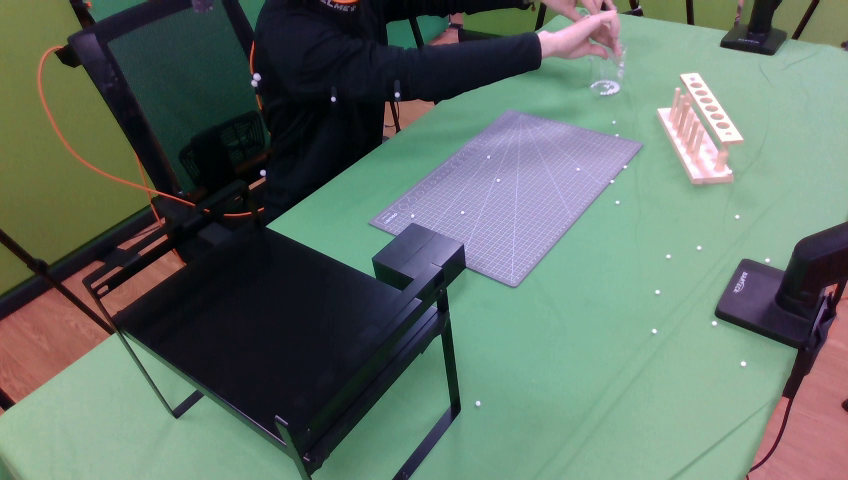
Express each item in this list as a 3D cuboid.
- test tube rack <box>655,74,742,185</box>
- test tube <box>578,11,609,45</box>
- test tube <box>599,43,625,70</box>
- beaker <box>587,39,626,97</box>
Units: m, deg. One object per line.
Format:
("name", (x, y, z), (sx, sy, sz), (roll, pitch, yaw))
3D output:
("test tube rack", (0.488, -0.205, 1.093), (0.067, 0.085, 0.241), (-3, 41, 5))
("test tube", (0.364, -0.460, 1.304), (0.017, 0.017, 0.149), (-10, 44, -4))
("test tube", (0.364, -0.356, 1.174), (0.017, 0.017, 0.149), (-4, 31, 4))
("beaker", (0.386, -0.361, 1.280), (0.074, 0.101, 0.083), (-22, 43, -15))
